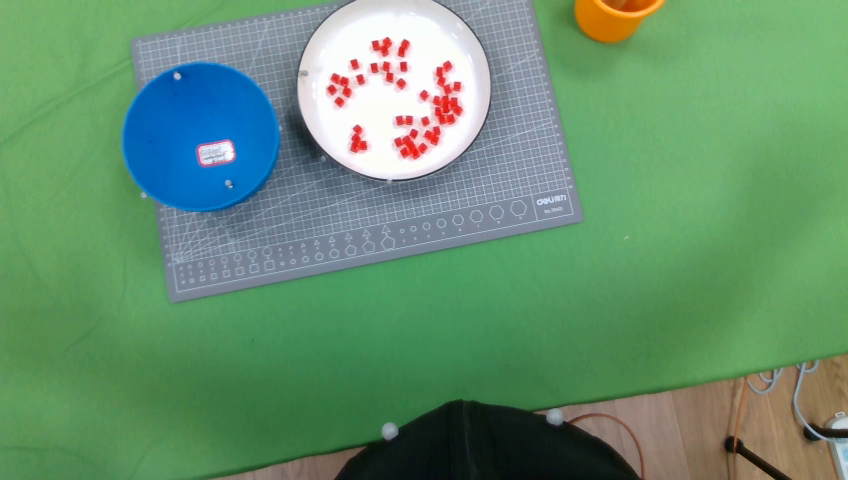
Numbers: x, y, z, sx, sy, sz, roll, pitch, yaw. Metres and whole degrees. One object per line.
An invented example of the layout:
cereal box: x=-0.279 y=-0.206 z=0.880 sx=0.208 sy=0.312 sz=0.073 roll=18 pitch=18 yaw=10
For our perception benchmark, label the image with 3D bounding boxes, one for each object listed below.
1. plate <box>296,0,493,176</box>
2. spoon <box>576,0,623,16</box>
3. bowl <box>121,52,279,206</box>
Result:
plate: x=-0.031 y=-0.169 z=0.653 sx=0.209 sy=0.038 sz=0.208 roll=0 pitch=83 yaw=-1
spoon: x=0.247 y=-0.280 z=0.621 sx=0.022 sy=0.193 sz=0.041 roll=1 pitch=81 yaw=-46
bowl: x=-0.217 y=-0.103 z=0.621 sx=0.151 sy=0.077 sz=0.151 roll=0 pitch=83 yaw=-1
